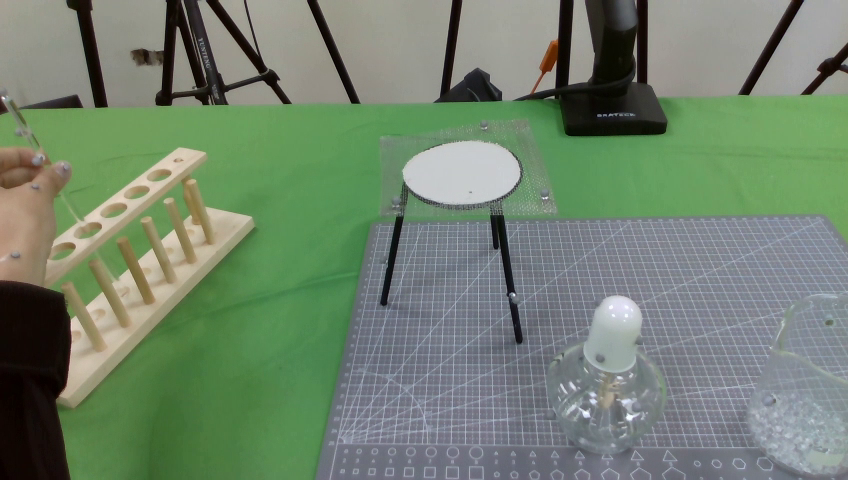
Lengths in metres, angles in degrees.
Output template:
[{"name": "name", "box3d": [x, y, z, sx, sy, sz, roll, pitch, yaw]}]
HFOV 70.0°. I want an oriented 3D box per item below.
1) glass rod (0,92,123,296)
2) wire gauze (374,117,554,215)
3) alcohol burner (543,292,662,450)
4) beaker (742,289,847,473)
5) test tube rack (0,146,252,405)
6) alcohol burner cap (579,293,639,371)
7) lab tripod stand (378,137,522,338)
[{"name": "glass rod", "box3d": [-0.283, -0.025, 0.482, 0.008, 0.201, 0.008, -3, 41, 3]}, {"name": "wire gauze", "box3d": [0.024, -0.056, 0.449, 0.125, 0.011, 0.120, -5, 39, 1]}, {"name": "alcohol burner", "box3d": [0.118, 0.081, 0.395, 0.078, 0.120, 0.077, -3, 37, 3]}, {"name": "beaker", "box3d": [0.247, 0.092, 0.381, 0.084, 0.101, 0.073, -3, 39, 3]}, {"name": "test tube rack", "box3d": [-0.258, 0.017, 0.535, 0.066, 0.086, 0.241, 13, 42, 19]}, {"name": "alcohol burner cap", "box3d": [0.115, 0.054, 0.372, 0.034, 0.048, 0.033, 0, 37, 1]}, {"name": "lab tripod stand", "box3d": [0.028, -0.004, 0.492, 0.148, 0.133, 0.147, -3, 41, 3]}]
